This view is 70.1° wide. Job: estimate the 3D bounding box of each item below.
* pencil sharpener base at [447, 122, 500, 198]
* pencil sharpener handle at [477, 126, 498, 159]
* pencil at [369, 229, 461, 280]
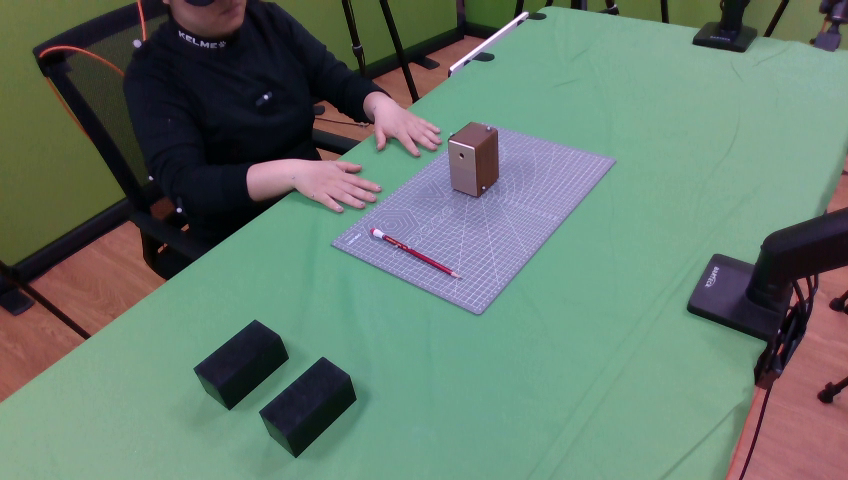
[{"bbox_3d":[0.089,-0.140,1.052,0.061,0.107,0.077,22,48,31],"label":"pencil sharpener base"},{"bbox_3d":[0.119,-0.178,1.073,0.035,0.068,0.031,22,48,31],"label":"pencil sharpener handle"},{"bbox_3d":[-0.016,0.022,0.952,0.192,0.012,0.012,27,51,33],"label":"pencil"}]
